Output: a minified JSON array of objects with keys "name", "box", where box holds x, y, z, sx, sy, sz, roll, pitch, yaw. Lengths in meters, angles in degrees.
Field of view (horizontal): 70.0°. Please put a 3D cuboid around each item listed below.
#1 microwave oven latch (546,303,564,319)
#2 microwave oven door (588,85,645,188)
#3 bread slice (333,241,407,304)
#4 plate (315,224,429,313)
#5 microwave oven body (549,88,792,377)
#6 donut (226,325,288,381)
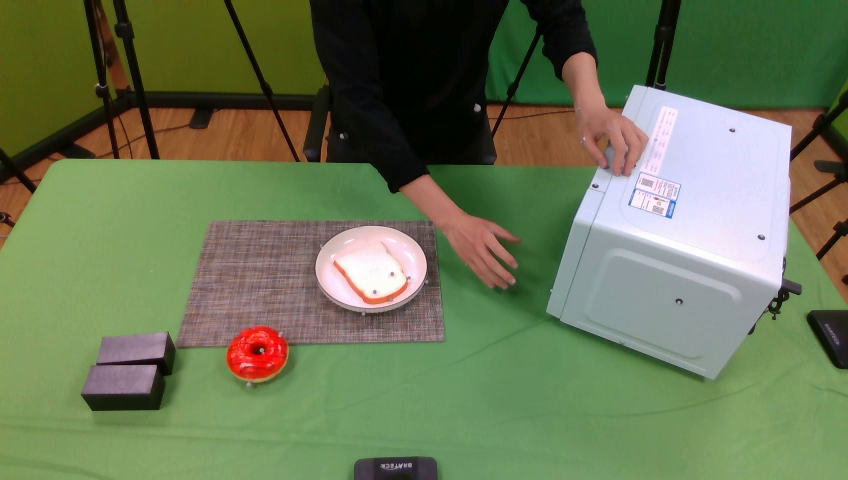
[{"name":"microwave oven latch","box":[0.242,0.102,1.081,0.030,0.029,0.079,21,48,17]},{"name":"microwave oven door","box":[0.342,-0.107,1.148,0.039,0.245,0.354,21,48,15]},{"name":"bread slice","box":[-0.092,0.060,1.117,0.105,0.019,0.130,-24,52,-24]},{"name":"plate","box":[-0.096,0.055,1.121,0.208,0.039,0.206,2,46,-2]},{"name":"microwave oven body","box":[0.456,-0.028,1.088,0.325,0.261,0.440,20,47,16]},{"name":"donut","box":[-0.270,0.182,0.984,0.099,0.048,0.098,5,49,-5]}]
